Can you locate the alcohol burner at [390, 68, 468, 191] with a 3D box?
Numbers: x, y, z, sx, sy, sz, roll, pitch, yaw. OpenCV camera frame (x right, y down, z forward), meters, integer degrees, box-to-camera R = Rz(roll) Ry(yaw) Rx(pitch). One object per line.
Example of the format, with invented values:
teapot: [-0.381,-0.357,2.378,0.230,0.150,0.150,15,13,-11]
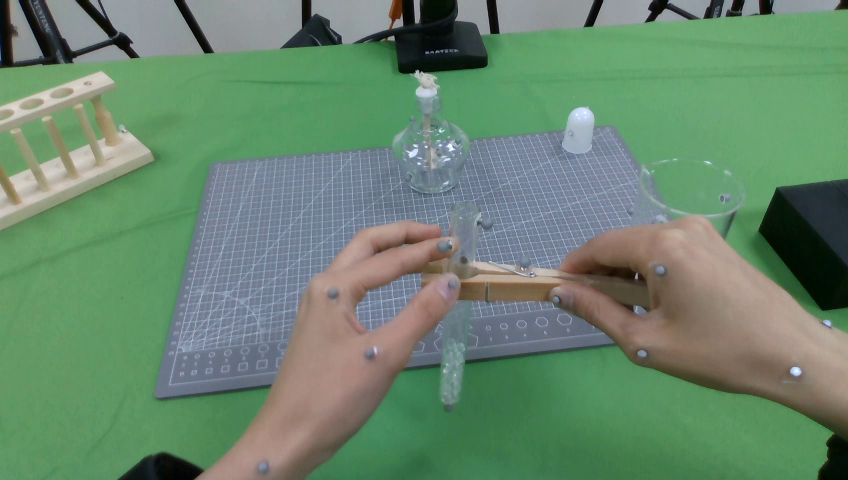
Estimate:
alcohol burner: [0.004,-0.109,0.588,0.078,0.120,0.077,-2,42,2]

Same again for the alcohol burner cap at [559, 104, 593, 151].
alcohol burner cap: [0.164,-0.123,0.649,0.034,0.048,0.033,-1,43,1]

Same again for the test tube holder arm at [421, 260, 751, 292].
test tube holder arm: [0.088,0.020,0.335,0.178,0.015,0.013,0,53,2]

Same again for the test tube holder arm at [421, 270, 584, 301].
test tube holder arm: [0.043,0.025,0.333,0.088,0.015,0.010,-3,53,0]

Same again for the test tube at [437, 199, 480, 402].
test tube: [0.018,0.042,0.350,0.017,0.151,0.017,2,37,-1]

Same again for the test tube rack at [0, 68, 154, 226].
test tube rack: [-0.408,-0.078,0.596,0.242,0.086,0.066,-34,52,-29]

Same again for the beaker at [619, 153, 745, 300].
beaker: [0.197,-0.009,0.483,0.074,0.101,0.083,-27,48,-24]
